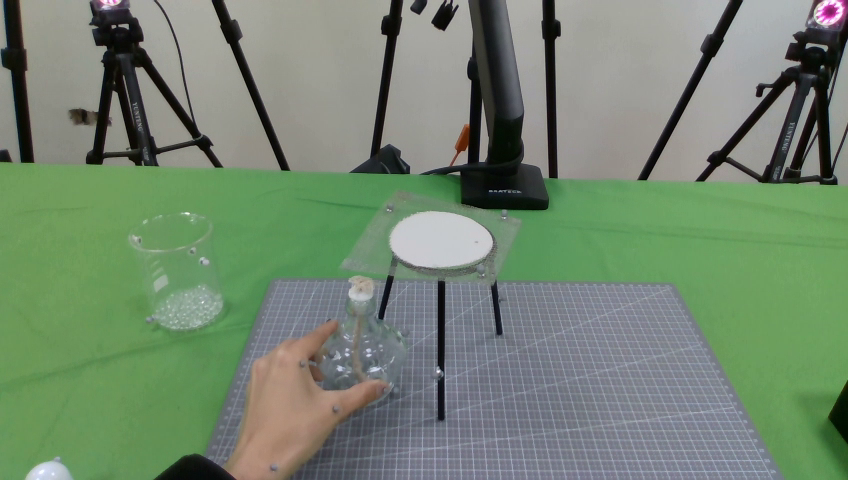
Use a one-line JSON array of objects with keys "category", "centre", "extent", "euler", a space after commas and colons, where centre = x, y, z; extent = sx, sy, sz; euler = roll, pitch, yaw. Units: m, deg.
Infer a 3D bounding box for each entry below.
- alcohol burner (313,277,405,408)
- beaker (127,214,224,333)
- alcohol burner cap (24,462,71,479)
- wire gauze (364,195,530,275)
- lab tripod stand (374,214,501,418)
[{"category": "alcohol burner", "centre": [-0.054, 0.081, 0.507], "extent": [0.078, 0.120, 0.077], "euler": [4, 29, -2]}, {"category": "beaker", "centre": [-0.240, 0.033, 0.600], "extent": [0.074, 0.101, 0.083], "euler": [8, 32, 9]}, {"category": "alcohol burner cap", "centre": [-0.263, 0.178, 0.425], "extent": [0.034, 0.048, 0.033], "euler": [2, 32, -1]}, {"category": "wire gauze", "centre": [0.017, -0.010, 0.483], "extent": [0.125, 0.011, 0.120], "euler": [6, 27, -6]}, {"category": "lab tripod stand", "centre": [0.015, 0.058, 0.533], "extent": [0.148, 0.132, 0.147], "euler": [2, 34, -1]}]
